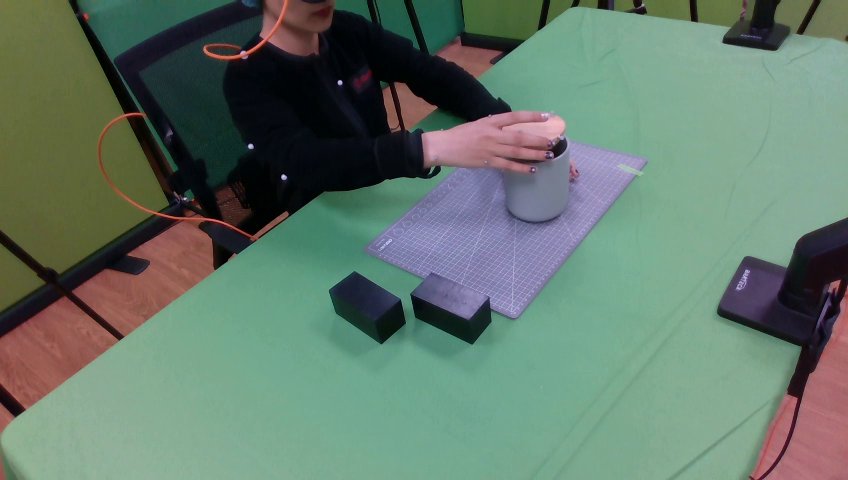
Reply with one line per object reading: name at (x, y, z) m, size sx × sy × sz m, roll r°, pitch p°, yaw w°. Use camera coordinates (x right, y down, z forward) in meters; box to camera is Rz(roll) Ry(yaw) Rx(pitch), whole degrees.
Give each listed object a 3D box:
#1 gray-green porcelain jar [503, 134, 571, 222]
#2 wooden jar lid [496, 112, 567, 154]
gray-green porcelain jar at (0.184, -0.102, 0.983) m, size 0.106 × 0.127 × 0.105 m, roll -6°, pitch 40°, yaw 5°
wooden jar lid at (0.165, -0.164, 0.933) m, size 0.108 × 0.021 × 0.108 m, roll -7°, pitch 36°, yaw 6°
